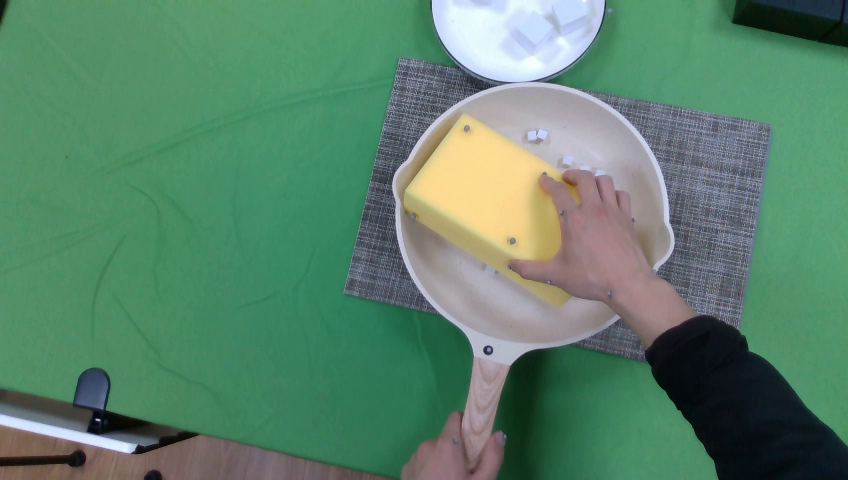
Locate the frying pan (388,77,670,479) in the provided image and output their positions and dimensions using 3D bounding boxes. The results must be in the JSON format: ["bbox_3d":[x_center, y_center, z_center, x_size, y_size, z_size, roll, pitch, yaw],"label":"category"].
[{"bbox_3d":[0.083,0.064,0.653,0.306,0.103,0.486,15,76,6],"label":"frying pan"}]

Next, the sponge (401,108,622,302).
[{"bbox_3d":[0.092,-0.039,0.664,0.206,0.061,0.118,31,72,7],"label":"sponge"}]

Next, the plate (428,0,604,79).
[{"bbox_3d":[0.109,-0.290,0.734,0.207,0.039,0.207,0,83,4],"label":"plate"}]
